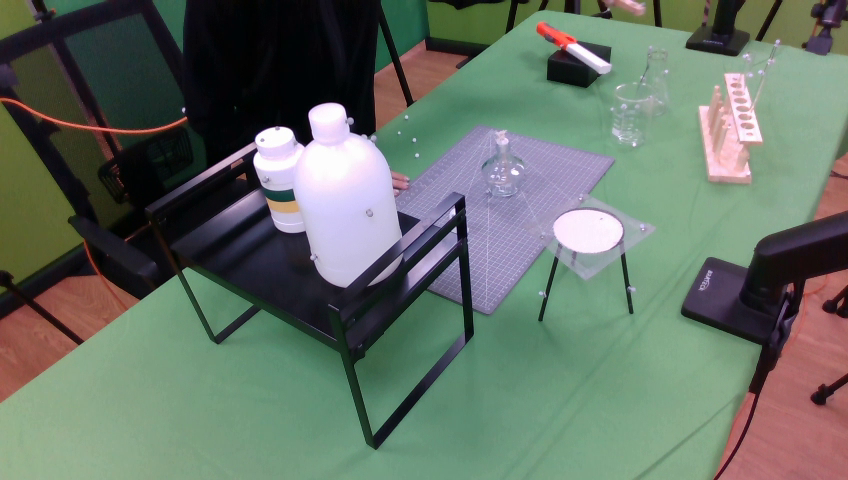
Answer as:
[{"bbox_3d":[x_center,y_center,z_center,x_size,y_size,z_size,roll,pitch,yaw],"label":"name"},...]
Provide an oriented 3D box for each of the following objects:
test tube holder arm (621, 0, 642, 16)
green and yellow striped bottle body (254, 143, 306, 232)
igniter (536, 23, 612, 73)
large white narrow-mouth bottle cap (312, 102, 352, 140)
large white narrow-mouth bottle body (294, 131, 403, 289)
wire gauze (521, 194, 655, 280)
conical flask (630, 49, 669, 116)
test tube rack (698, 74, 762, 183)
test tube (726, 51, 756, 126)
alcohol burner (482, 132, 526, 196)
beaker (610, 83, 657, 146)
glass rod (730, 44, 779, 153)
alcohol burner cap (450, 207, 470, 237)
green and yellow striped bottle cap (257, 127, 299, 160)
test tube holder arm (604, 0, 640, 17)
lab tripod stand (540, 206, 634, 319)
[{"bbox_3d":[0.365,-0.484,1.201,0.013,0.015,0.177,-23,48,-19],"label":"test tube holder arm"},{"bbox_3d":[-0.165,-0.073,0.732,0.063,0.120,0.063,-4,41,4],"label":"green and yellow striped bottle body"},{"bbox_3d":[0.330,-0.439,1.366,0.057,0.025,0.274,-12,40,-20],"label":"igniter"},{"bbox_3d":[-0.089,-0.114,0.579,0.038,0.024,0.037,-3,39,3],"label":"large white narrow-mouth bottle cap"},{"bbox_3d":[-0.082,-0.047,0.634,0.102,0.195,0.101,-4,39,4],"label":"large white narrow-mouth bottle body"},{"bbox_3d":[0.207,-0.012,0.772,0.122,0.011,0.124,-28,44,-20],"label":"wire gauze"},{"bbox_3d":[0.456,-0.316,1.205,0.075,0.122,0.075,-4,41,4],"label":"conical flask"},{"bbox_3d":[0.547,-0.208,1.095,0.066,0.085,0.242,5,42,15],"label":"test tube rack"},{"bbox_3d":[0.567,-0.268,1.086,0.017,0.151,0.017,-4,46,5],"label":"test tube"},{"bbox_3d":[0.137,-0.136,1.042,0.078,0.119,0.077,-4,43,4],"label":"alcohol burner"},{"bbox_3d":[0.388,-0.235,1.138,0.074,0.101,0.083,-31,45,-26],"label":"beaker"},{"bbox_3d":[0.555,-0.233,1.020,0.008,0.200,0.008,2,40,-1],"label":"glass rod"},{"bbox_3d":[0.057,-0.032,0.987,0.034,0.048,0.033,-5,41,5],"label":"alcohol burner cap"},{"bbox_3d":[-0.169,-0.112,0.699,0.045,0.020,0.045,-5,40,5],"label":"green and yellow striped bottle cap"},{"bbox_3d":[0.383,-0.455,1.171,0.010,0.015,0.087,-23,48,-19],"label":"test tube holder arm"},{"bbox_3d":[0.218,0.034,0.821,0.148,0.132,0.147,-4,43,4],"label":"lab tripod stand"}]
